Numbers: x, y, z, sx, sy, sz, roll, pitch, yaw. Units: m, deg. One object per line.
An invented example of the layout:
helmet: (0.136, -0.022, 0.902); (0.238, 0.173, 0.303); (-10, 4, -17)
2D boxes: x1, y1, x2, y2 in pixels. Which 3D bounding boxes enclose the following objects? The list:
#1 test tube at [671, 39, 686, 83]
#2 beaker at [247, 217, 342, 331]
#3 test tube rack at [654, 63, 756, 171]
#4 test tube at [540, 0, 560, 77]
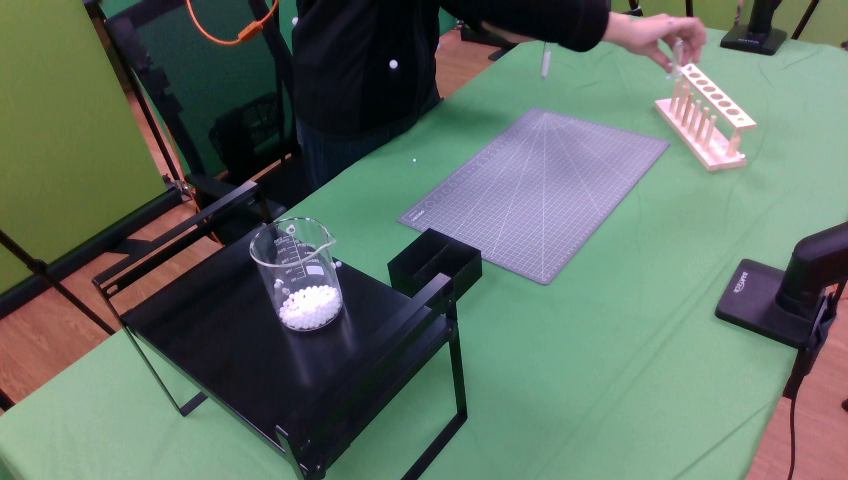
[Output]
test tube: (0.423, -0.296, 1.005); (0.017, 0.151, 0.017); (-3, 81, 19)
beaker: (-0.124, 0.037, 0.614); (0.084, 0.101, 0.073); (-7, 41, 0)
test tube rack: (0.511, -0.233, 1.120); (0.067, 0.085, 0.241); (-8, 41, -1)
test tube: (0.229, -0.366, 1.103); (0.017, 0.151, 0.017); (0, 46, 1)
